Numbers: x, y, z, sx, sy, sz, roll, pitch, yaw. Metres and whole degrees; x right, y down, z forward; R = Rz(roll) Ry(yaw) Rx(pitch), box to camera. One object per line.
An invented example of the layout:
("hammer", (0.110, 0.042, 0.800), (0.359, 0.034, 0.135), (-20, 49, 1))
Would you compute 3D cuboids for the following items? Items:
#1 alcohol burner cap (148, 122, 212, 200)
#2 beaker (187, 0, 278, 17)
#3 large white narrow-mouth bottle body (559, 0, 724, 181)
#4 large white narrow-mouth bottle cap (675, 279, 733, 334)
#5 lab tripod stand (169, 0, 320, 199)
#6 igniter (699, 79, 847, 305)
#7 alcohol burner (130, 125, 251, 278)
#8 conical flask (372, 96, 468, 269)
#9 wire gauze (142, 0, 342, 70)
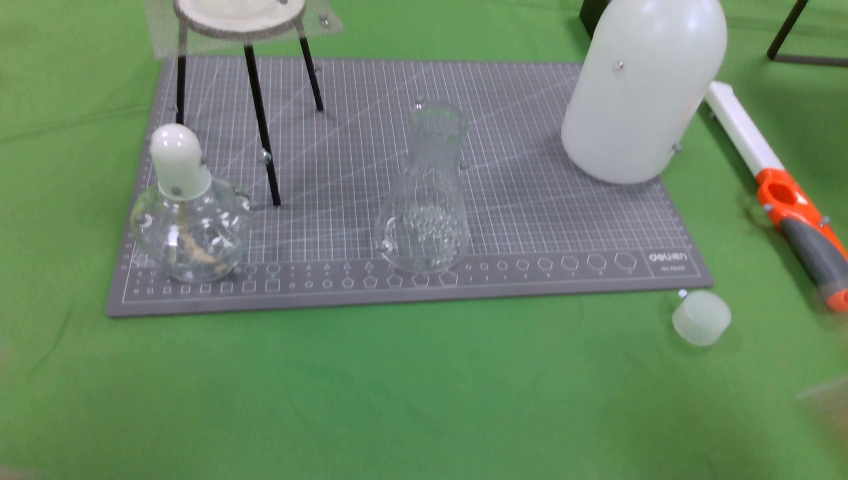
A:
("alcohol burner cap", (-0.151, -0.050, 0.372), (0.034, 0.048, 0.033), (4, 56, -5))
("beaker", (-0.130, -0.203, 0.385), (0.084, 0.101, 0.073), (-7, 53, -14))
("large white narrow-mouth bottle body", (0.182, -0.147, 0.496), (0.102, 0.196, 0.101), (4, 50, -4))
("large white narrow-mouth bottle cap", (0.210, 0.050, 0.455), (0.038, 0.024, 0.037), (4, 50, -4))
("lab tripod stand", (-0.134, -0.126, 0.471), (0.149, 0.132, 0.147), (5, 51, -6))
("igniter", (0.318, -0.057, 0.554), (0.057, 0.025, 0.273), (6, 49, -17))
("alcohol burner", (-0.156, -0.029, 0.401), (0.078, 0.120, 0.077), (5, 49, -6))
("conical flask", (0.002, -0.041, 0.429), (0.075, 0.123, 0.074), (4, 50, -5))
("wire gauze", (-0.131, -0.170, 0.422), (0.122, 0.011, 0.124), (-14, 58, -17))
